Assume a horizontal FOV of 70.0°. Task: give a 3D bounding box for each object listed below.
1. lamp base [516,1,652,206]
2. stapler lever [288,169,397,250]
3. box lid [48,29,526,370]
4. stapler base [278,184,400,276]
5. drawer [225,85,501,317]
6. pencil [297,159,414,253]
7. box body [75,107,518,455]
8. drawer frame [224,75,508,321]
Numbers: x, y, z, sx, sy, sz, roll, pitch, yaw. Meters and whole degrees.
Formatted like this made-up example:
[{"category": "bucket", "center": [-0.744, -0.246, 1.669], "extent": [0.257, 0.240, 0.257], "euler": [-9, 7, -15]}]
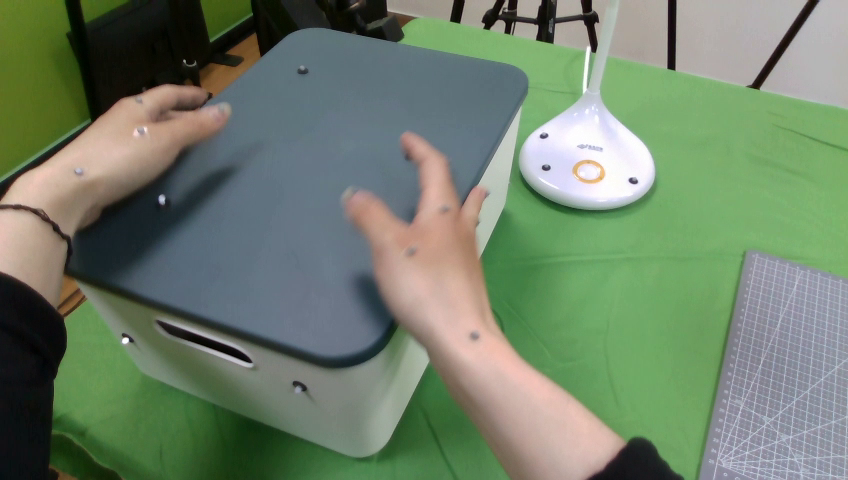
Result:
[{"category": "lamp base", "center": [0.190, -0.159, 0.681], "extent": [0.160, 0.182, 0.177], "euler": [1, 43, 2]}, {"category": "stapler lever", "center": [-0.074, -0.034, 0.551], "extent": [0.117, 0.040, 0.027], "euler": [36, 42, 19]}, {"category": "box lid", "center": [-0.086, -0.071, 0.502], "extent": [0.262, 0.015, 0.369], "euler": [16, 48, 16]}, {"category": "stapler base", "center": [-0.078, -0.016, 0.567], "extent": [0.129, 0.024, 0.041], "euler": [35, 42, 19]}, {"category": "drawer", "center": [-0.049, -0.051, 0.586], "extent": [0.194, 0.074, 0.210], "euler": [25, 41, 7]}, {"category": "pencil", "center": [-0.071, -0.036, 0.591], "extent": [0.012, 0.012, 0.192], "euler": [-31, 49, -27]}, {"category": "box body", "center": [-0.084, -0.020, 0.558], "extent": [0.253, 0.162, 0.362], "euler": [16, 48, 15]}, {"category": "drawer frame", "center": [-0.047, -0.053, 0.588], "extent": [0.201, 0.083, 0.212], "euler": [24, 43, 7]}]
